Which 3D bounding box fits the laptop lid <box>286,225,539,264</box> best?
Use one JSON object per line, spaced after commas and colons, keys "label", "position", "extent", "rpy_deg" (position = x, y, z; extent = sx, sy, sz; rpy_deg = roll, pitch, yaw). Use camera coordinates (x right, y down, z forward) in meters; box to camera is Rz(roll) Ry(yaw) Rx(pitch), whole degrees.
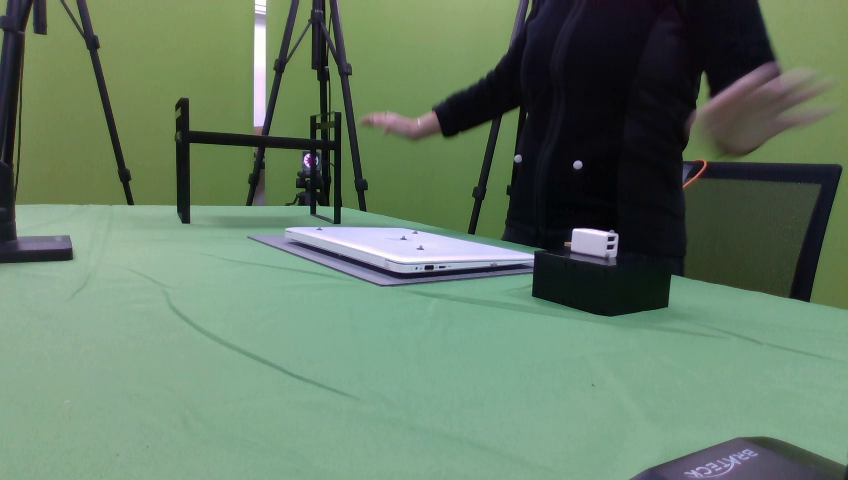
{"label": "laptop lid", "position": [-0.032, 0.002, 0.898], "extent": [0.243, 0.013, 0.355], "rpy_deg": [0, 8, -34]}

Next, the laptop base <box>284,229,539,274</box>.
{"label": "laptop base", "position": [-0.034, 0.013, 0.898], "extent": [0.237, 0.023, 0.352], "rpy_deg": [1, 7, -36]}

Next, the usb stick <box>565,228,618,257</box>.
{"label": "usb stick", "position": [0.175, 0.002, 0.642], "extent": [0.021, 0.027, 0.059], "rpy_deg": [-6, 8, -35]}
